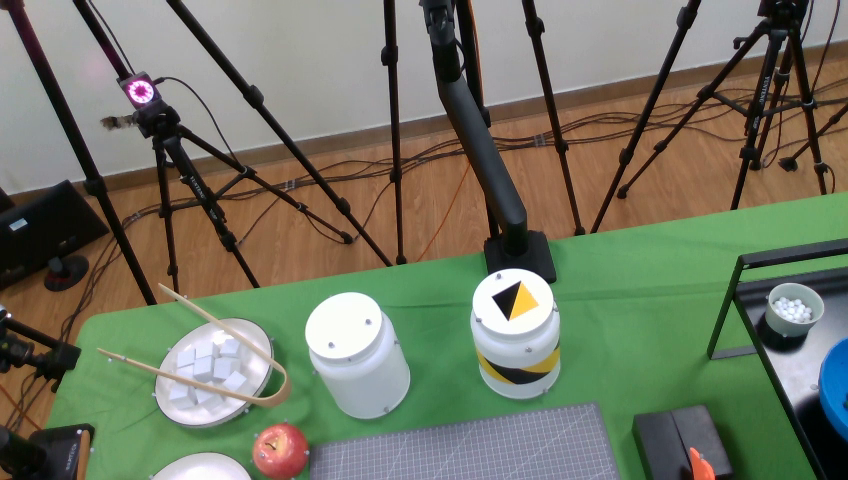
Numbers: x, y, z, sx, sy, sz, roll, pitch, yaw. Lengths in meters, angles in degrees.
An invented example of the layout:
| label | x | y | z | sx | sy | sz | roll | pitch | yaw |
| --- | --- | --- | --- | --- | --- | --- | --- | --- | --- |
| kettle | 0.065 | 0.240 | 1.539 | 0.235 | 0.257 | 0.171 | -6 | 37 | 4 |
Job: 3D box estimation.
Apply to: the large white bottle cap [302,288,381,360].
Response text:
| label | x | y | z | sx | sy | sz | roll | pitch | yaw |
| --- | --- | --- | --- | --- | --- | --- | --- | --- | --- |
| large white bottle cap | -0.120 | 0.120 | 0.879 | 0.115 | 0.018 | 0.113 | -6 | 49 | 8 |

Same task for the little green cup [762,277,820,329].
| label | x | y | z | sx | sy | sz | roll | pitch | yaw |
| --- | --- | --- | --- | --- | --- | --- | --- | --- | --- |
| little green cup | 0.455 | 0.081 | 0.757 | 0.061 | 0.039 | 0.061 | -7 | 50 | 8 |

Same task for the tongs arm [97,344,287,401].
| label | x | y | z | sx | sy | sz | roll | pitch | yaw |
| --- | --- | --- | --- | --- | --- | --- | --- | --- | --- |
| tongs arm | -0.404 | 0.213 | 1.030 | 0.382 | 0.027 | 0.050 | 11 | 50 | 24 |

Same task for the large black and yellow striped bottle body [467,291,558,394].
| label | x | y | z | sx | sy | sz | roll | pitch | yaw |
| --- | --- | --- | --- | --- | --- | --- | --- | --- | --- |
| large black and yellow striped bottle body | 0.137 | 0.138 | 0.923 | 0.130 | 0.186 | 0.129 | -6 | 49 | 8 |

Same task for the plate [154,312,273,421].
| label | x | y | z | sx | sy | sz | roll | pitch | yaw |
| --- | --- | --- | --- | --- | --- | --- | --- | --- | --- |
| plate | -0.361 | 0.221 | 1.057 | 0.207 | 0.039 | 0.205 | -6 | 50 | 7 |

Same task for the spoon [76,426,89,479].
| label | x | y | z | sx | sy | sz | roll | pitch | yaw |
| --- | --- | --- | --- | --- | --- | --- | --- | --- | --- |
| spoon | -0.504 | 0.370 | 0.891 | 0.041 | 0.022 | 0.194 | 6 | 97 | 17 |

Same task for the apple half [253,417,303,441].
| label | x | y | z | sx | sy | sz | roll | pitch | yaw |
| --- | --- | --- | --- | --- | --- | --- | --- | --- | --- |
| apple half | -0.227 | 0.297 | 0.939 | 0.081 | 0.082 | 0.032 | -21 | 54 | -5 |

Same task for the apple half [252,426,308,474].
| label | x | y | z | sx | sy | sz | roll | pitch | yaw |
| --- | --- | --- | --- | --- | --- | --- | --- | --- | --- |
| apple half | -0.214 | 0.324 | 0.915 | 0.081 | 0.075 | 0.053 | -19 | 53 | -8 |

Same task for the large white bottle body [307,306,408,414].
| label | x | y | z | sx | sy | sz | roll | pitch | yaw |
| --- | --- | --- | --- | --- | --- | --- | --- | --- | --- |
| large white bottle body | -0.104 | 0.175 | 0.943 | 0.130 | 0.186 | 0.129 | -6 | 49 | 7 |

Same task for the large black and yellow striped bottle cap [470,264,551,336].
| label | x | y | z | sx | sy | sz | roll | pitch | yaw |
| --- | --- | --- | --- | --- | --- | --- | --- | --- | --- |
| large black and yellow striped bottle cap | 0.122 | 0.083 | 0.860 | 0.115 | 0.019 | 0.114 | -5 | 51 | 7 |

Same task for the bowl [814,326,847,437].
| label | x | y | z | sx | sy | sz | roll | pitch | yaw |
| --- | --- | --- | --- | --- | --- | --- | --- | --- | --- |
| bowl | 0.493 | 0.172 | 0.648 | 0.151 | 0.077 | 0.150 | -6 | 49 | 8 |

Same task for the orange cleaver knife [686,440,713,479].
| label | x | y | z | sx | sy | sz | roll | pitch | yaw |
| --- | --- | --- | --- | --- | --- | --- | --- | --- | --- |
| orange cleaver knife | 0.359 | 0.359 | 0.752 | 0.012 | 0.077 | 0.210 | -10 | 80 | 3 |

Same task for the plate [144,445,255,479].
| label | x | y | z | sx | sy | sz | roll | pitch | yaw |
| --- | --- | --- | --- | --- | --- | --- | --- | --- | --- |
| plate | -0.340 | 0.410 | 0.893 | 0.209 | 0.038 | 0.207 | -6 | 50 | 8 |

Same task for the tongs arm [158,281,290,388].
| label | x | y | z | sx | sy | sz | roll | pitch | yaw |
| --- | --- | --- | --- | --- | --- | --- | --- | --- | --- |
| tongs arm | -0.363 | 0.155 | 1.074 | 0.384 | 0.028 | 0.028 | 24 | 53 | 32 |
